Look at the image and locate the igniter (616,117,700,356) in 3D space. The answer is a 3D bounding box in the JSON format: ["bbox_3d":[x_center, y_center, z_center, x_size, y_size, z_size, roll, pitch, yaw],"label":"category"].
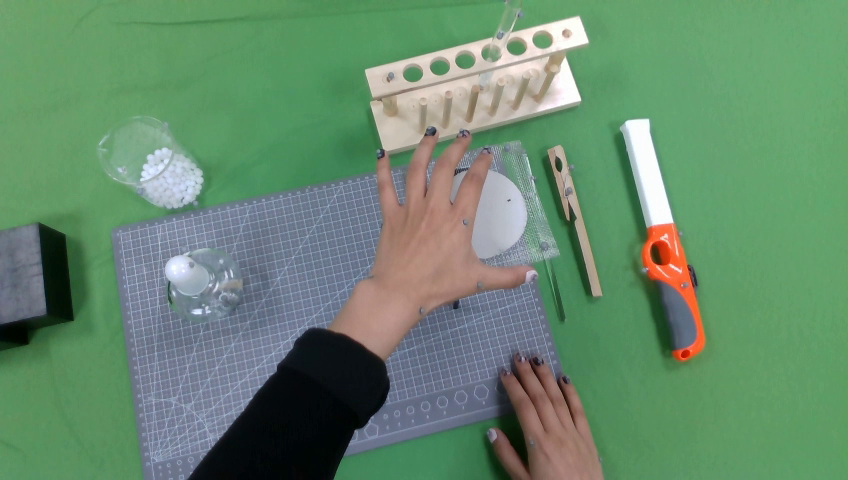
[{"bbox_3d":[0.263,-0.009,0.684,0.057,0.025,0.275,-6,77,-13],"label":"igniter"}]

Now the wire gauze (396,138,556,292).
[{"bbox_3d":[0.046,-0.027,0.556,0.121,0.011,0.124,-15,77,-3],"label":"wire gauze"}]

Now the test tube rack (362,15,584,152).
[{"bbox_3d":[0.058,-0.174,0.688,0.242,0.085,0.066,-15,77,-5],"label":"test tube rack"}]

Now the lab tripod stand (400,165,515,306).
[{"bbox_3d":[0.034,-0.013,0.622,0.148,0.132,0.147,0,77,1],"label":"lab tripod stand"}]

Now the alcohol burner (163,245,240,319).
[{"bbox_3d":[-0.231,0.039,0.613,0.078,0.119,0.077,0,75,0],"label":"alcohol burner"}]

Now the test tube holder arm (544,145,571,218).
[{"bbox_3d":[0.158,-0.068,0.701,0.010,0.015,0.087,-23,75,34],"label":"test tube holder arm"}]

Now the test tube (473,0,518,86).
[{"bbox_3d":[0.073,-0.206,0.645,0.017,0.150,0.017,2,74,-6],"label":"test tube"}]

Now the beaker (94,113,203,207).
[{"bbox_3d":[-0.290,-0.081,0.650,0.084,0.100,0.073,5,76,1],"label":"beaker"}]

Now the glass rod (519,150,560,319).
[{"bbox_3d":[0.132,-0.008,0.691,0.008,0.008,0.199,-10,80,-4],"label":"glass rod"}]

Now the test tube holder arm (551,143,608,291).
[{"bbox_3d":[0.174,-0.027,0.688,0.013,0.015,0.177,-26,73,33],"label":"test tube holder arm"}]

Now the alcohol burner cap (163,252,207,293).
[{"bbox_3d":[-0.231,0.028,0.579,0.034,0.048,0.033,1,67,-1],"label":"alcohol burner cap"}]
